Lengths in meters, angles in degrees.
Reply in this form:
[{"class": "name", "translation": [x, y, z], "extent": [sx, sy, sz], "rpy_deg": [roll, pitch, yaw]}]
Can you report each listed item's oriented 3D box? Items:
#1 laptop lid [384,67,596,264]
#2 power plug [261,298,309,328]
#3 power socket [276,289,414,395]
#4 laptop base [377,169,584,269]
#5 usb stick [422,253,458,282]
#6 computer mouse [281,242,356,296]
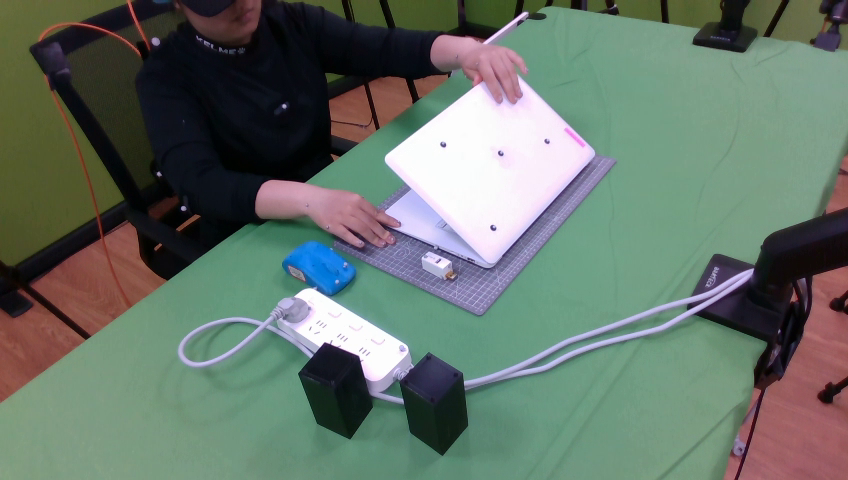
[{"class": "laptop lid", "translation": [0.125, -0.140, 0.997], "extent": [0.241, 0.013, 0.358], "rpy_deg": [46, 55, 4]}, {"class": "power plug", "translation": [-0.192, 0.107, 0.831], "extent": [0.073, 0.053, 0.035], "rpy_deg": [-32, 43, -25]}, {"class": "power socket", "translation": [-0.115, 0.133, 0.820], "extent": [0.225, 0.033, 0.072], "rpy_deg": [25, 49, 33]}, {"class": "laptop base", "translation": [0.115, -0.088, 1.058], "extent": [0.233, 0.023, 0.355], "rpy_deg": [20, 47, 33]}, {"class": "usb stick", "translation": [0.025, 0.043, 0.908], "extent": [0.058, 0.027, 0.021], "rpy_deg": [27, 46, 31]}, {"class": "computer mouse", "translation": [-0.164, 0.041, 0.934], "extent": [0.116, 0.041, 0.063], "rpy_deg": [27, 48, 28]}]
